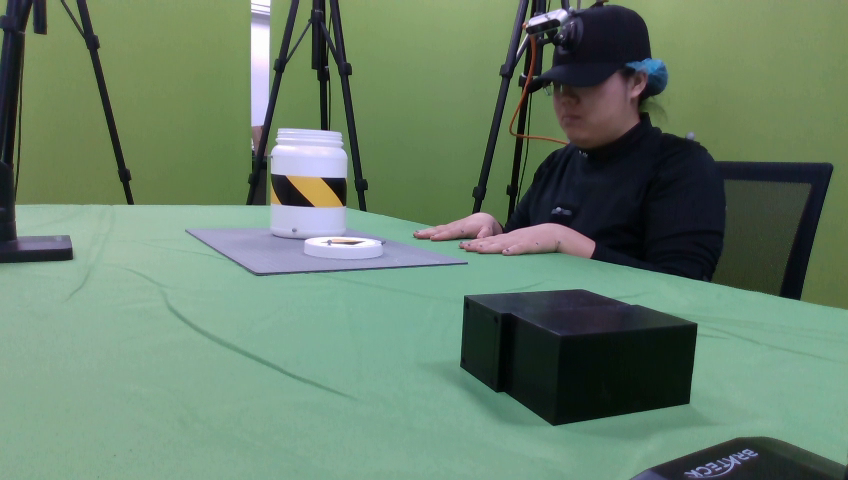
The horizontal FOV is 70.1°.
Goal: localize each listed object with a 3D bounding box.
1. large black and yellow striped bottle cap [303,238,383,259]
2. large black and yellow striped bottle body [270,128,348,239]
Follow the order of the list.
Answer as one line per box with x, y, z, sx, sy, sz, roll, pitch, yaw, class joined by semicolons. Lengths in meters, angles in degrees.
-0.117;0.011;0.880;0.115;0.019;0.115;2;6;0;large black and yellow striped bottle cap
-0.200;-0.099;1.053;0.131;0.184;0.130;3;8;0;large black and yellow striped bottle body
